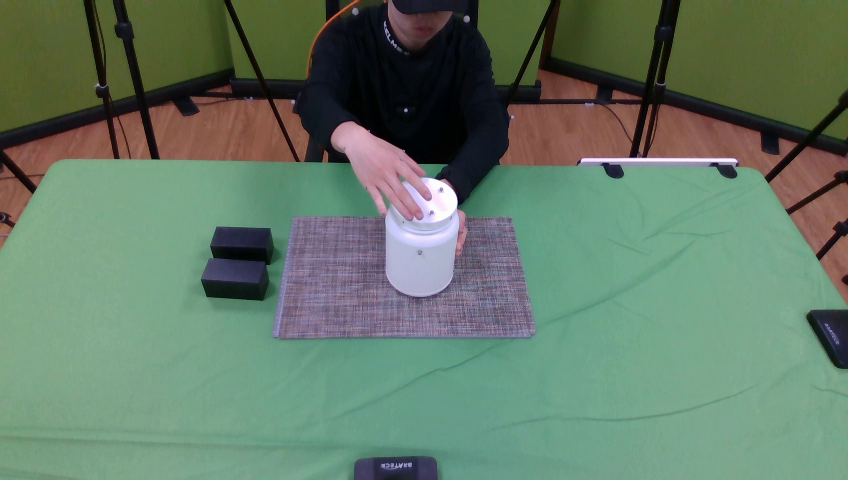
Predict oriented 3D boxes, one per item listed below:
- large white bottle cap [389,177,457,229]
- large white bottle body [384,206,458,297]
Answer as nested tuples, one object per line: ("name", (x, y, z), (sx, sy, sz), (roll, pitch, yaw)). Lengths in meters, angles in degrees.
("large white bottle cap", (-0.002, -0.063, 1.018), (0.115, 0.018, 0.114), (2, 46, -2))
("large white bottle body", (-0.006, -0.002, 1.082), (0.131, 0.185, 0.130), (2, 46, -1))
